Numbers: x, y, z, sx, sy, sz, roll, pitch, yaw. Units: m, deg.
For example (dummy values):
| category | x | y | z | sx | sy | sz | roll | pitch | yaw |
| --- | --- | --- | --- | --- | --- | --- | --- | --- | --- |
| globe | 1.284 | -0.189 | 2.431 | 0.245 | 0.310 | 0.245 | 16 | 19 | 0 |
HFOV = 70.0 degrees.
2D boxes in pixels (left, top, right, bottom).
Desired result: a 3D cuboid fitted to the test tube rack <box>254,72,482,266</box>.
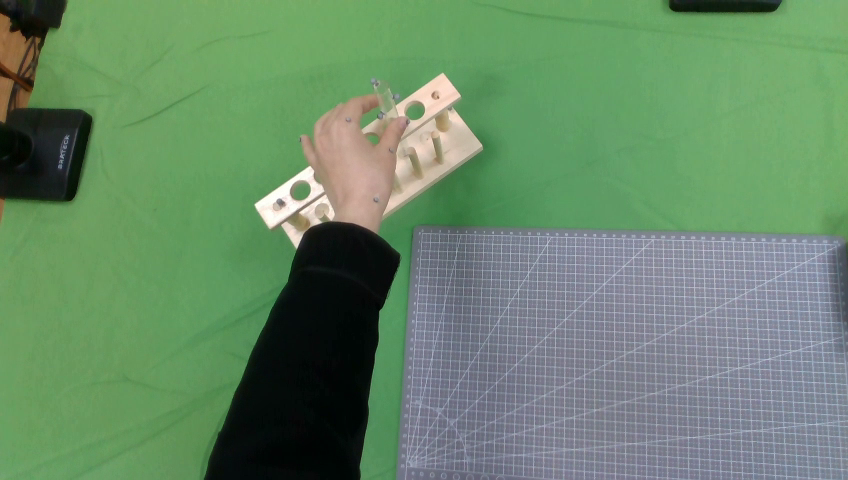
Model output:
| category | x | y | z | sx | sy | sz | roll | pitch | yaw |
| --- | --- | --- | --- | --- | --- | --- | --- | --- | --- |
| test tube rack | -0.056 | -0.073 | 0.665 | 0.242 | 0.085 | 0.066 | -35 | 75 | -1 |

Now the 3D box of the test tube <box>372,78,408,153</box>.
| category | x | y | z | sx | sy | sz | roll | pitch | yaw |
| --- | --- | --- | --- | --- | --- | --- | --- | --- | --- |
| test tube | -0.032 | -0.123 | 0.622 | 0.017 | 0.151 | 0.017 | -1 | 76 | 6 |
